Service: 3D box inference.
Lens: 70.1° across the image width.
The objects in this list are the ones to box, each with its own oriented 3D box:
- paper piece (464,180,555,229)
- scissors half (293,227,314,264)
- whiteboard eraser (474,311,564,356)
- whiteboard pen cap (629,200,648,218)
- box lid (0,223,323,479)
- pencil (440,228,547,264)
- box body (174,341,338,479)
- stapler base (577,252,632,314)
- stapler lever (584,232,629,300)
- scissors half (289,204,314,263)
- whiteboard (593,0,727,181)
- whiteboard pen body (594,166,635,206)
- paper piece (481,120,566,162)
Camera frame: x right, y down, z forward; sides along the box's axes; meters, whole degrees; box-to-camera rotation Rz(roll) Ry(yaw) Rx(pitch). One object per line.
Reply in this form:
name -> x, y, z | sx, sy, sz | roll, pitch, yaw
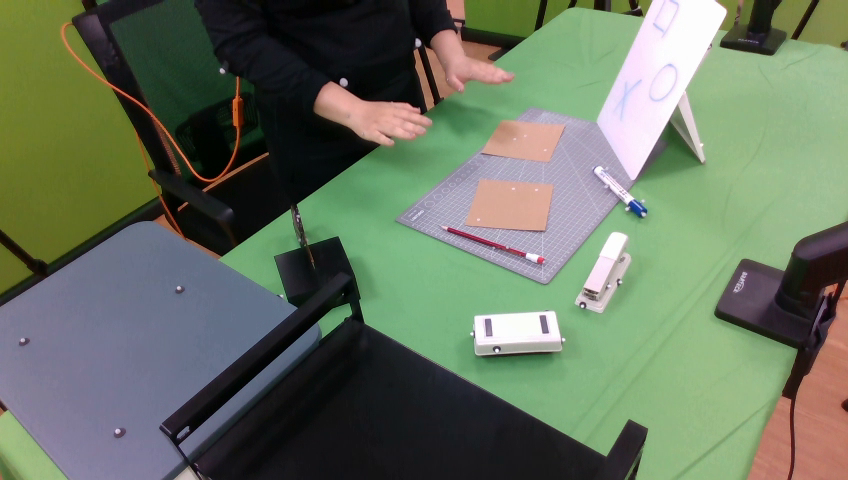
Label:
paper piece -> 0.149, -0.062, 1.035 | 0.137, 0.009, 0.136 | 4, 37, 17
scissors half -> -0.188, 0.007, 0.955 | 0.013, 0.040, 0.174 | -20, 21, -13
whiteboard eraser -> 0.123, 0.125, 0.794 | 0.113, 0.042, 0.055 | -5, 38, 3
whiteboard pen cap -> 0.348, -0.052, 0.984 | 0.018, 0.018, 0.033 | -18, 41, -12
box lid -> -0.318, 0.109, 0.671 | 0.368, 0.015, 0.264 | 24, 50, 31
pencil -> 0.105, 0.006, 0.958 | 0.192, 0.012, 0.012 | 18, 46, 30
box body -> -0.311, 0.165, 0.720 | 0.361, 0.161, 0.255 | 23, 49, 32
stapler base -> 0.264, 0.051, 0.875 | 0.041, 0.024, 0.131 | 16, 47, 30
stapler lever -> 0.260, 0.034, 0.858 | 0.026, 0.040, 0.118 | 16, 46, 30
scissors half -> -0.191, -0.010, 0.945 | 0.013, 0.040, 0.173 | -15, 37, -16
whiteboard -> 0.452, -0.272, 1.056 | 0.144, 0.305, 0.216 | 9, 38, -12
whiteboard pen body -> 0.330, -0.085, 1.027 | 0.017, 0.017, 0.139 | -17, 42, -10
paper piece -> 0.197, -0.199, 1.188 | 0.135, 0.004, 0.135 | 11, 44, 21
